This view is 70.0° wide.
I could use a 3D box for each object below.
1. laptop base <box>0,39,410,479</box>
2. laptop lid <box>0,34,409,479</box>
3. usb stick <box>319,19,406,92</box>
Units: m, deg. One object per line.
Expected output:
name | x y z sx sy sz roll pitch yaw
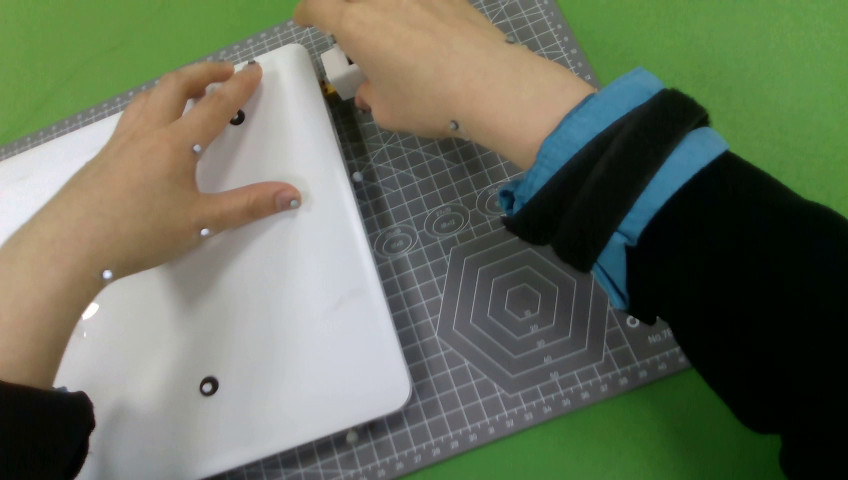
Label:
laptop base | -0.202 0.037 0.364 0.354 0.023 0.234 -20 73 5
laptop lid | -0.203 0.035 0.352 0.356 0.013 0.240 -19 73 6
usb stick | -0.043 -0.107 0.362 0.059 0.027 0.021 -21 71 8
